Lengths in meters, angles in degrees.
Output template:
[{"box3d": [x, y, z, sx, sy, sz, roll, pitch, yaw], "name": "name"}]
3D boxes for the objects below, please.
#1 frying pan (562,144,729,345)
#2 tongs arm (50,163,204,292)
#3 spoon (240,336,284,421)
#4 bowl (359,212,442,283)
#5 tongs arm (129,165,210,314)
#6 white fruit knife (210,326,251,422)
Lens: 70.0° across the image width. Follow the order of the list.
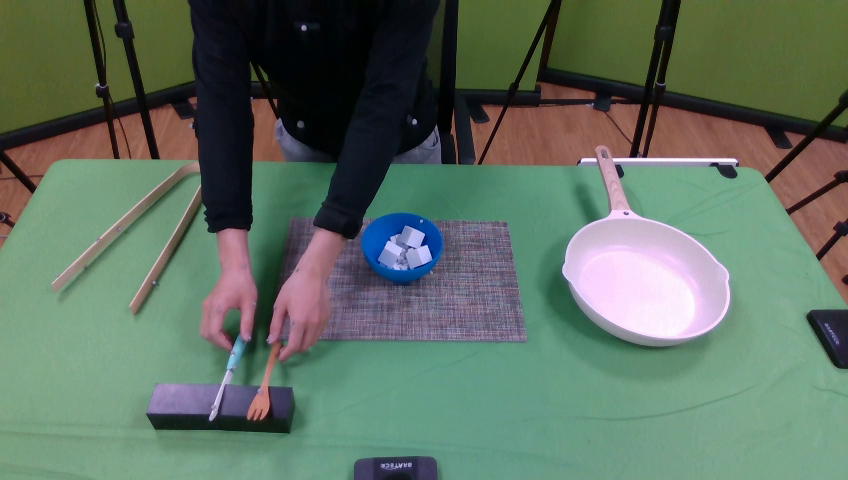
[{"box3d": [0.397, -0.008, 1.179, 0.307, 0.103, 0.484, 1, 55, -4], "name": "frying pan"}, {"box3d": [-0.561, -0.036, 1.178, 0.050, 0.026, 0.383, 17, 46, 10], "name": "tongs arm"}, {"box3d": [-0.242, 0.206, 0.931, 0.041, 0.022, 0.192, -24, 28, 15], "name": "spoon"}, {"box3d": [-0.044, 0.026, 1.125, 0.151, 0.077, 0.150, 2, 46, -2], "name": "bowl"}, {"box3d": [-0.483, -0.015, 1.171, 0.028, 0.028, 0.385, 5, 46, 4], "name": "tongs arm"}, {"box3d": [-0.300, 0.201, 0.941, 0.016, 0.027, 0.206, -1, 32, 0], "name": "white fruit knife"}]
